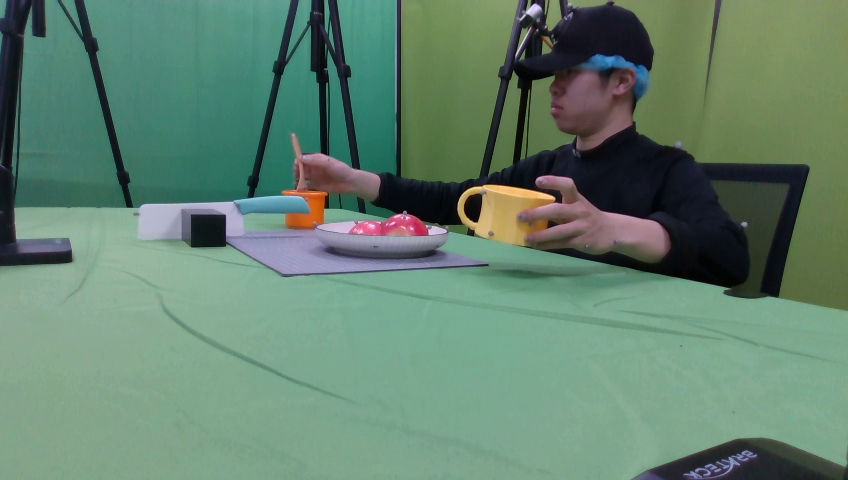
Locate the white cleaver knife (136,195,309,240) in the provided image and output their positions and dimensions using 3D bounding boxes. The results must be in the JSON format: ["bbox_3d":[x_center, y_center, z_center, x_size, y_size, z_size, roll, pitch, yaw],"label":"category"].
[{"bbox_3d":[-0.337,-0.039,1.037,0.288,0.066,0.021,-6,15,-29],"label":"white cleaver knife"}]

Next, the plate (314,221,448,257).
[{"bbox_3d":[-0.067,-0.002,0.948,0.209,0.038,0.209,3,7,0],"label":"plate"}]

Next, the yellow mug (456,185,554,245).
[{"bbox_3d":[0.107,-0.038,0.823,0.130,0.064,0.100,11,11,16],"label":"yellow mug"}]

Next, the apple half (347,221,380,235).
[{"bbox_3d":[-0.088,-0.014,0.985,0.081,0.033,0.081,5,6,0],"label":"apple half"}]

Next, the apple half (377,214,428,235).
[{"bbox_3d":[-0.034,-0.013,0.924,0.080,0.053,0.075,5,10,16],"label":"apple half"}]

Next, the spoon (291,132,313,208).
[{"bbox_3d":[-0.258,-0.148,1.265,0.021,0.193,0.042,-30,-30,36],"label":"spoon"}]
